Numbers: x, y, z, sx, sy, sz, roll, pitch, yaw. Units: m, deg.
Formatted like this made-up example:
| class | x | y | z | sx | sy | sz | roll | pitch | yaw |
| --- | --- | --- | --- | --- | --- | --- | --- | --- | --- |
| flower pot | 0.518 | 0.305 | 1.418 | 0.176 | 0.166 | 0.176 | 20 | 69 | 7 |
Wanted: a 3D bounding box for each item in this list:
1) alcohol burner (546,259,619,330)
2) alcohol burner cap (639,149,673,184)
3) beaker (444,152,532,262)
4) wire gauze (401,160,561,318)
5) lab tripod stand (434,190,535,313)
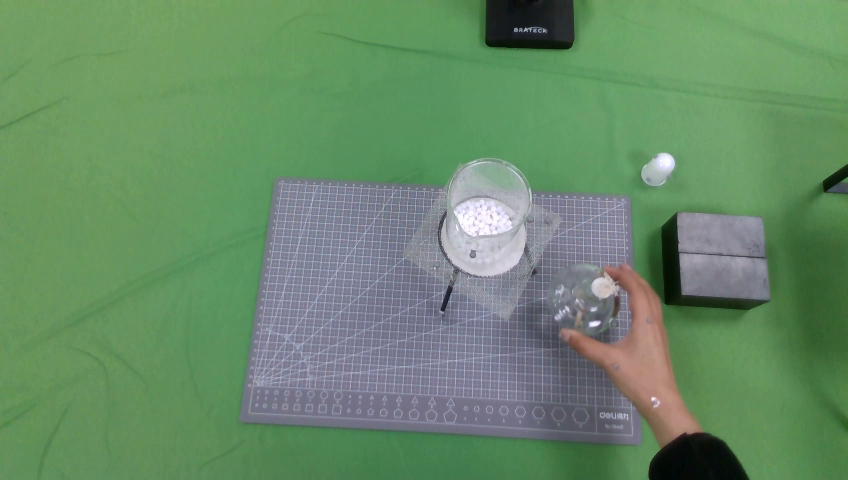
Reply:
| class | x | y | z | sx | sy | sz | roll | pitch | yaw |
| --- | --- | --- | --- | --- | --- | --- | --- | --- | --- |
| alcohol burner | 0.170 | 0.054 | 0.635 | 0.078 | 0.119 | 0.077 | 1 | 74 | -2 |
| alcohol burner cap | 0.291 | -0.094 | 0.755 | 0.034 | 0.048 | 0.033 | 0 | 72 | 2 |
| beaker | 0.054 | -0.023 | 0.562 | 0.074 | 0.101 | 0.083 | 27 | 74 | 8 |
| wire gauze | 0.058 | -0.005 | 0.608 | 0.125 | 0.011 | 0.121 | 31 | 76 | 6 |
| lab tripod stand | 0.060 | 0.009 | 0.672 | 0.148 | 0.132 | 0.147 | 0 | 71 | -1 |
